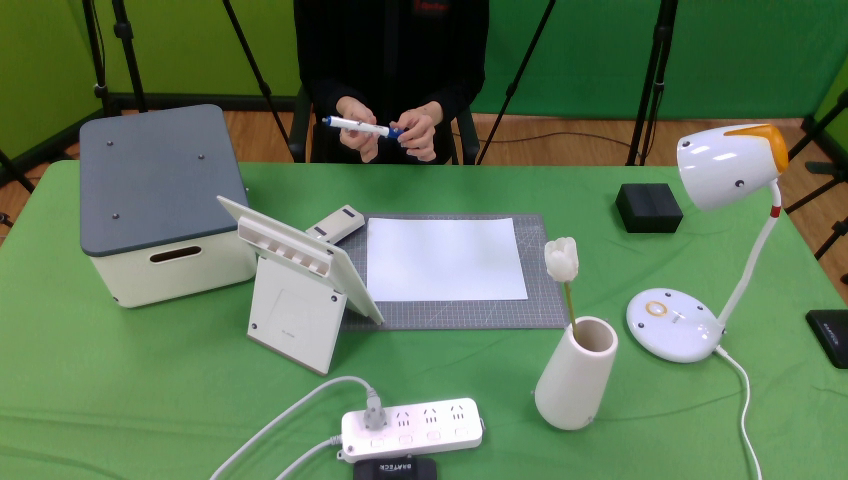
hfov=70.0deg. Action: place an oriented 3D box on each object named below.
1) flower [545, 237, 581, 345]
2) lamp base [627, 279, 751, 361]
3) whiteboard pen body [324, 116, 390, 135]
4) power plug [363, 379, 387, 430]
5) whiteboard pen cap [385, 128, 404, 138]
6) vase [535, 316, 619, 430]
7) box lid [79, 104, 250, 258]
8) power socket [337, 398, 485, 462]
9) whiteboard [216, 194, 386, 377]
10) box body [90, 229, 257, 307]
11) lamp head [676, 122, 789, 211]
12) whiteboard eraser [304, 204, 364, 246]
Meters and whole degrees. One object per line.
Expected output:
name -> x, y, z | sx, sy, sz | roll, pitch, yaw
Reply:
flower -> 0.213, 0.137, 0.846 | 0.038, 0.364, 0.044 | 22, 55, 40
lamp base -> 0.460, 0.100, 1.027 | 0.178, 0.181, 0.160 | 27, 51, 17
whiteboard pen body -> -0.103, -0.193, 1.034 | 0.141, 0.017, 0.017 | 4, 42, -32
power plug -> -0.071, 0.252, 0.911 | 0.035, 0.053, 0.072 | 3, 40, 0
whiteboard pen cap -> -0.052, -0.188, 1.066 | 0.033, 0.018, 0.018 | -9, 46, -31
vase -> 0.229, 0.200, 0.901 | 0.098, 0.201, 0.097 | 3, 46, -3
box lid -> -0.467, -0.120, 1.075 | 0.264, 0.015, 0.369 | -13, 49, -17
power socket -> -0.018, 0.285, 0.914 | 0.227, 0.033, 0.071 | -4, 46, -8
whiteboard -> -0.212, 0.093, 0.939 | 0.216, 0.307, 0.143 | 24, 70, 17
box body -> -0.471, -0.070, 1.131 | 0.254, 0.161, 0.361 | -14, 49, -17
lamp head -> 0.423, -0.104, 0.819 | 0.122, 0.113, 0.112 | -13, 33, 40
whiteboard eraser -> -0.175, -0.022, 1.188 | 0.055, 0.042, 0.112 | 36, 54, 26
